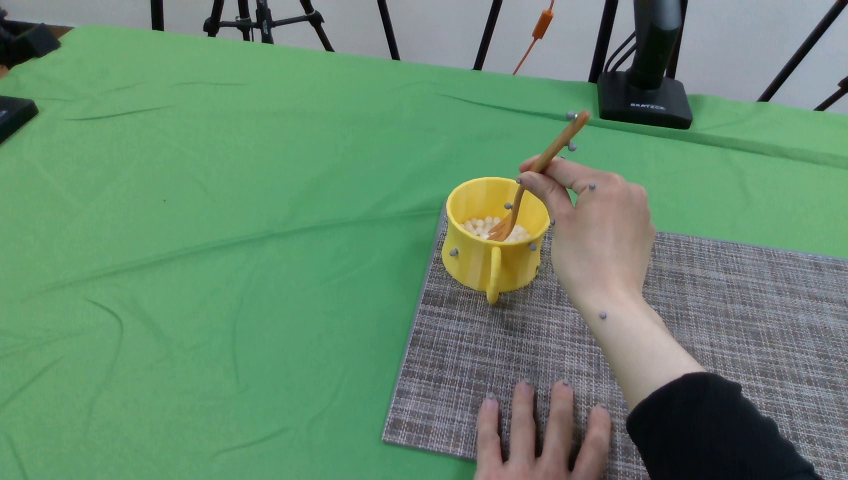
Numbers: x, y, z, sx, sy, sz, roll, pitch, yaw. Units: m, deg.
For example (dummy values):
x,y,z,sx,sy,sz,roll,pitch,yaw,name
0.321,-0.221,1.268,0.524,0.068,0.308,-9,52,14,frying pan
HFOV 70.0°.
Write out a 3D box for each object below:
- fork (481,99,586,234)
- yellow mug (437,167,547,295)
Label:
x,y,z,sx,sy,sz,roll,pitch,yaw,name
0.084,-0.052,0.507,0.018,0.208,0.028,19,62,-3,fork
0.062,-0.005,0.577,0.100,0.064,0.129,5,45,1,yellow mug
